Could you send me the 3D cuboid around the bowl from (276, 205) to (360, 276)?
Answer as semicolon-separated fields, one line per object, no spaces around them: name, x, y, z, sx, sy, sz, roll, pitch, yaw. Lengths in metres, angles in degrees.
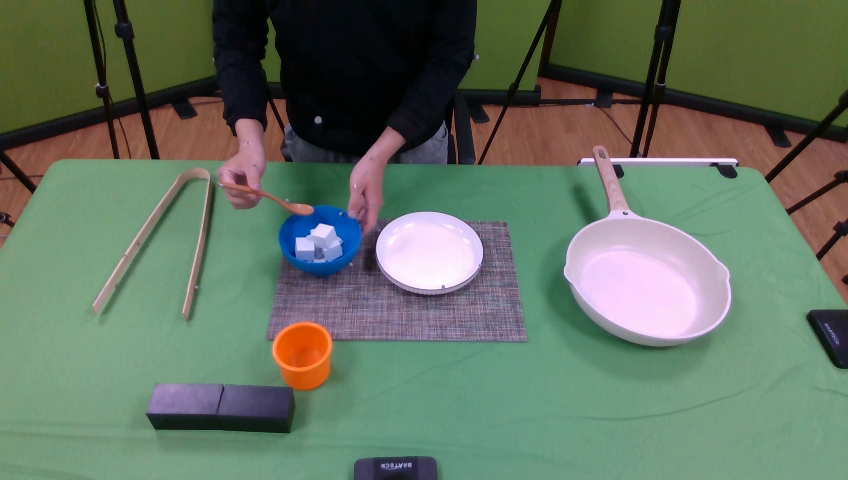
bowl;-0.193;0.013;1.125;0.151;0.077;0.150;2;47;-2

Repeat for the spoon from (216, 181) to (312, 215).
spoon;-0.272;-0.074;1.046;0.195;0.021;0.041;22;15;-50

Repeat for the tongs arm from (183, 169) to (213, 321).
tongs arm;-0.436;-0.005;1.166;0.028;0.028;0.385;-5;46;-6

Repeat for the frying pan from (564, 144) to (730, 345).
frying pan;0.396;-0.008;1.179;0.307;0.103;0.484;0;55;-5

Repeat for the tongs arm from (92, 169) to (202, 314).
tongs arm;-0.518;-0.012;1.160;0.051;0.026;0.382;7;45;1

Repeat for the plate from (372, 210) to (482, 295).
plate;0.005;0.028;1.155;0.208;0.039;0.206;3;46;-3
